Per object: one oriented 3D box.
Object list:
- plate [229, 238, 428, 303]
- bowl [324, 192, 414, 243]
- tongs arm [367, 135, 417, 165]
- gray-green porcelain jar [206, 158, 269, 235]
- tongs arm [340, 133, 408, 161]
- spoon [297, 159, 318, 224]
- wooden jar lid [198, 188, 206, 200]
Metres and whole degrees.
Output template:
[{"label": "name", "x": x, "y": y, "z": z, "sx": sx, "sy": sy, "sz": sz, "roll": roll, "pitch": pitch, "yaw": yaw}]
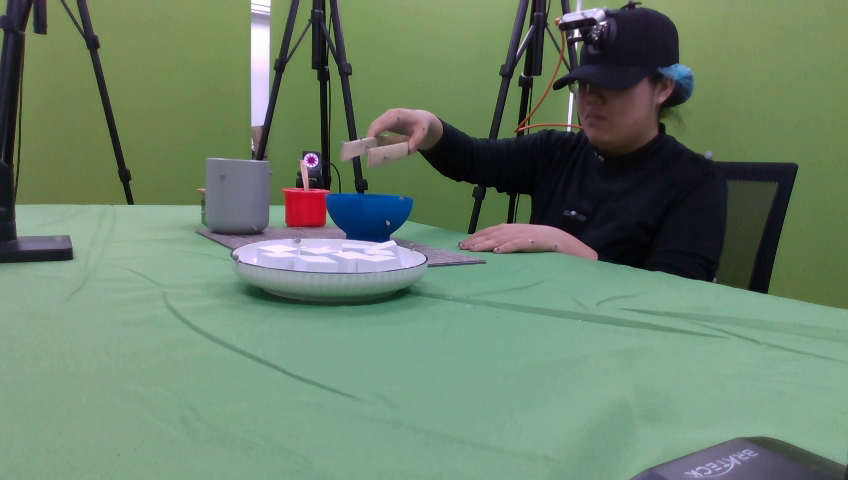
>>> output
[{"label": "plate", "x": -0.099, "y": 0.032, "z": 0.651, "sx": 0.209, "sy": 0.038, "sz": 0.209, "roll": 3, "pitch": 8, "yaw": 0}, {"label": "bowl", "x": -0.094, "y": -0.037, "z": 1.015, "sx": 0.151, "sy": 0.077, "sz": 0.151, "roll": 3, "pitch": 7, "yaw": 0}, {"label": "tongs arm", "x": -0.047, "y": -0.151, "z": 0.988, "sx": 0.028, "sy": 0.028, "sz": 0.388, "roll": 5, "pitch": 12, "yaw": 7}, {"label": "gray-green porcelain jar", "x": -0.322, "y": -0.076, "z": 1.048, "sx": 0.106, "sy": 0.126, "sz": 0.106, "roll": 3, "pitch": 7, "yaw": 0}, {"label": "tongs arm", "x": -0.072, "y": -0.155, "z": 0.991, "sx": 0.051, "sy": 0.026, "sz": 0.385, "roll": 7, "pitch": 13, "yaw": 3}, {"label": "spoon", "x": -0.244, "y": -0.103, "z": 1.251, "sx": 0.042, "sy": 0.021, "sz": 0.193, "roll": 1, "pitch": 51, "yaw": -17}, {"label": "wooden jar lid", "x": -0.382, "y": -0.088, "z": 1.175, "sx": 0.108, "sy": 0.020, "sz": 0.108, "roll": 3, "pitch": 8, "yaw": 0}]
